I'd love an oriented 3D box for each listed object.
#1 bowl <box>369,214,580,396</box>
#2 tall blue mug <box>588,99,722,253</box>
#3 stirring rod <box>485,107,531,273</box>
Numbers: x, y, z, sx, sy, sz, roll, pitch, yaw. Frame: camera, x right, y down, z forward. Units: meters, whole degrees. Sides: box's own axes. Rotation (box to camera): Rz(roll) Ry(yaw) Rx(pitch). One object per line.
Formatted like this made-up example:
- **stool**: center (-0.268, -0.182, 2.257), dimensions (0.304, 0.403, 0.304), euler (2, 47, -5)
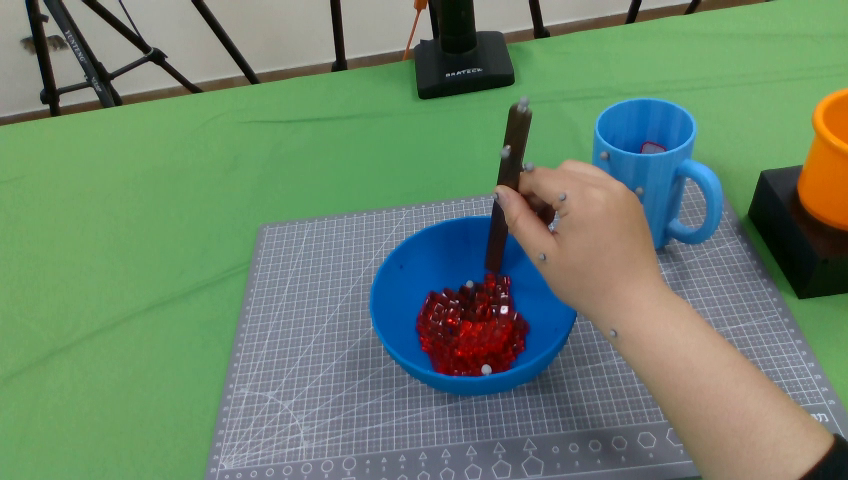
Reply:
- **bowl**: center (0.039, 0.060, 0.456), dimensions (0.151, 0.077, 0.150), euler (-5, 46, 6)
- **tall blue mug**: center (0.194, -0.049, 0.507), dimensions (0.106, 0.109, 0.077), euler (13, 50, 22)
- **stirring rod**: center (0.054, -0.024, 0.409), dimensions (0.014, 0.177, 0.006), euler (25, 61, 16)
